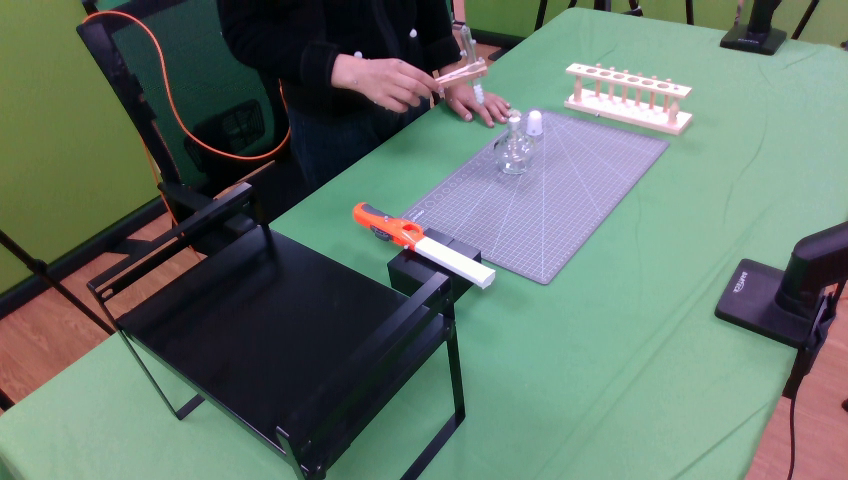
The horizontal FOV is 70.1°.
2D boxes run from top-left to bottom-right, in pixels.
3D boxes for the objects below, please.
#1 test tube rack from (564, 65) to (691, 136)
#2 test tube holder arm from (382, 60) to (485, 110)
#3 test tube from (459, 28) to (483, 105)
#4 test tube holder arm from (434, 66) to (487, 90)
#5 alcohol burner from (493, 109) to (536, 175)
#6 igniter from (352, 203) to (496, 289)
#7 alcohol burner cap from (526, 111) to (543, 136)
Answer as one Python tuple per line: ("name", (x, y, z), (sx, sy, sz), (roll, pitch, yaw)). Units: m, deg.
("test tube rack", (0.404, -0.288, 1.204), (0.240, 0.085, 0.067), (24, 49, 32))
("test tube holder arm", (0.016, -0.253, 0.992), (0.178, 0.015, 0.013), (-21, 54, 4))
("test tube", (0.078, -0.277, 0.980), (0.017, 0.151, 0.017), (-8, 54, 11))
("test tube holder arm", (0.059, -0.263, 0.984), (0.088, 0.015, 0.010), (-15, 55, 8))
("alcohol burner", (0.163, -0.179, 1.087), (0.078, 0.119, 0.077), (-5, 38, 4))
("igniter", (-0.011, 0.002, 0.899), (0.274, 0.025, 0.057), (27, 45, 33))
("alcohol burner cap", (0.219, -0.232, 1.196), (0.034, 0.048, 0.033), (-4, 41, 4))
